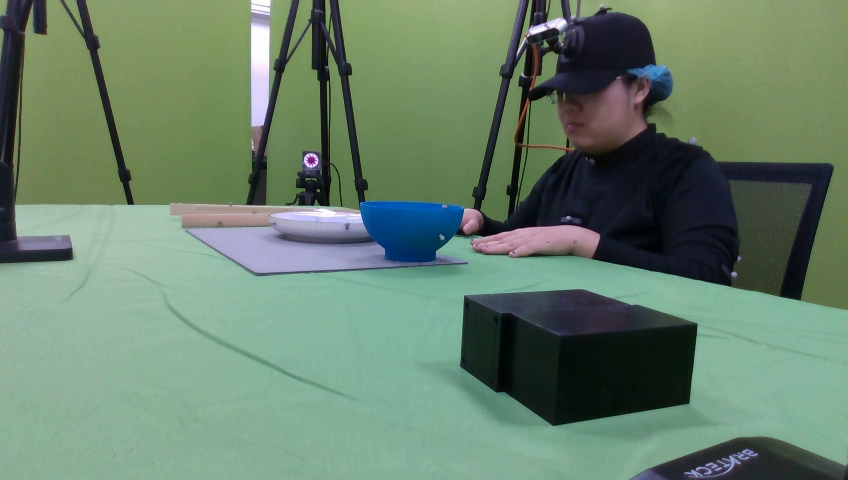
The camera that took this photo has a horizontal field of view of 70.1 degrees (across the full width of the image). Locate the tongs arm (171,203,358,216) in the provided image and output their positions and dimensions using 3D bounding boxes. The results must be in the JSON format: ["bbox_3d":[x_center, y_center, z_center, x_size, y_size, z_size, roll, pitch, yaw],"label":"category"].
[{"bbox_3d":[-0.331,-0.058,1.295,0.387,0.026,0.050,0,8,-25],"label":"tongs arm"}]

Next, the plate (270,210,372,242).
[{"bbox_3d":[-0.161,-0.024,1.054,0.208,0.039,0.207,2,7,0],"label":"plate"}]

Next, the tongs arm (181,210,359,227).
[{"bbox_3d":[-0.291,-0.044,1.225,0.390,0.028,0.028,-3,6,-38],"label":"tongs arm"}]

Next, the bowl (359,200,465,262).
[{"bbox_3d":[-0.018,-0.013,0.859,0.151,0.077,0.151,2,7,0],"label":"bowl"}]
